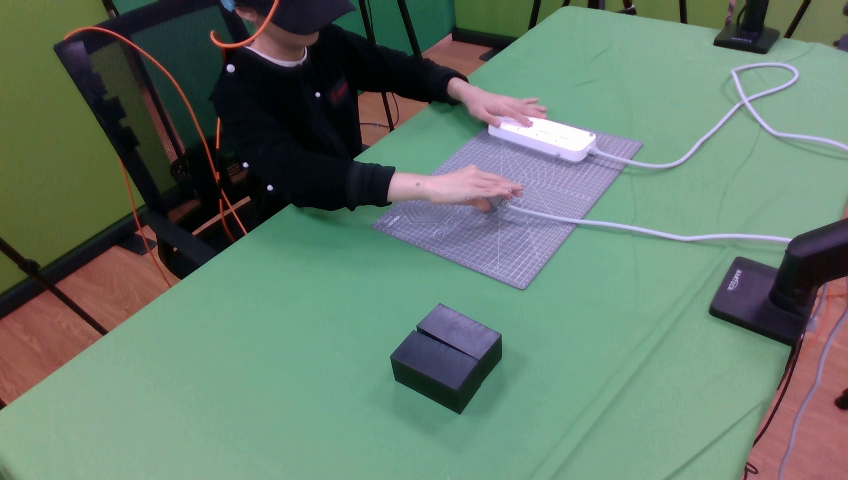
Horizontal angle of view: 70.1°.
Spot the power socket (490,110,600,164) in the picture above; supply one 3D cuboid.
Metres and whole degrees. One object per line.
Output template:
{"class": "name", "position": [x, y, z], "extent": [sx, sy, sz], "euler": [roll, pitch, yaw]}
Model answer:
{"class": "power socket", "position": [0.226, -0.201, 1.167], "extent": [0.225, 0.033, 0.072], "euler": [26, 51, 33]}

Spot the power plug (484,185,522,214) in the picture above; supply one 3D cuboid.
{"class": "power plug", "position": [0.132, -0.061, 1.020], "extent": [0.035, 0.053, 0.072], "euler": [-40, 79, 11]}
